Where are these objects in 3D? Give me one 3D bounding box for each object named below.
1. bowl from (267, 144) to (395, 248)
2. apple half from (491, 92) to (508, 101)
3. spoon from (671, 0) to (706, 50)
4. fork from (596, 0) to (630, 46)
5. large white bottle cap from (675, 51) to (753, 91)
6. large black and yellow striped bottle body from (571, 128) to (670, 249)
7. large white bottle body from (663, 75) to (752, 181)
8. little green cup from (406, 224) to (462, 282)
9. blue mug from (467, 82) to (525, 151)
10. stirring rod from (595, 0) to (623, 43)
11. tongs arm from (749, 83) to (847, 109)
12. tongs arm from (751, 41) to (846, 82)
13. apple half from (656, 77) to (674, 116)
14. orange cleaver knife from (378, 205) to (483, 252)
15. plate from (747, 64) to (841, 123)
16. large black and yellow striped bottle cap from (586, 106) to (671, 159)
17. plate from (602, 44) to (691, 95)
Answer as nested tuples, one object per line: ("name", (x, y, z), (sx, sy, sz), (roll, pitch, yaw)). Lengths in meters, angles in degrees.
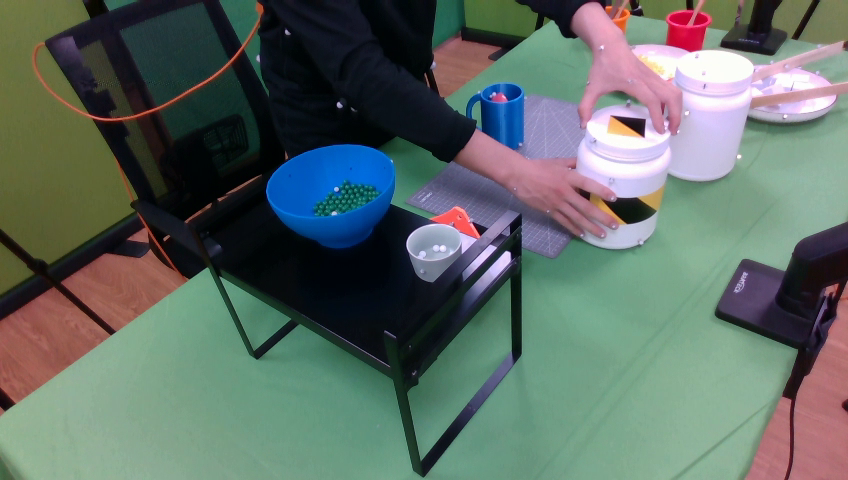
("bowl", (-0.104, -0.043, 0.726), (0.151, 0.077, 0.150), (-4, 40, 4))
("apple half", (0.141, -0.239, 1.158), (0.033, 0.081, 0.080), (-13, 40, -17))
("spoon", (0.628, -0.520, 1.394), (0.041, 0.022, 0.193), (30, 96, 34))
("fork", (0.481, -0.556, 1.452), (0.028, 0.019, 0.207), (40, 103, 40))
("large white bottle cap", (0.463, -0.271, 0.967), (0.115, 0.018, 0.114), (-4, 40, 3))
("large black and yellow striped bottle body", (0.295, -0.093, 0.915), (0.131, 0.185, 0.130), (-3, 42, 3))
("large white bottle body", (0.472, -0.207, 1.022), (0.130, 0.185, 0.130), (-4, 41, 4))
("little green cup", (0.012, 0.015, 0.668), (0.061, 0.039, 0.061), (-4, 40, 4))
("blue mug", (0.138, -0.241, 1.169), (0.116, 0.106, 0.082), (10, 44, 21))
("stirring rod", (0.460, -0.556, 1.459), (0.014, 0.006, 0.176), (30, 93, 24))
("tongs arm", (0.734, -0.280, 1.134), (0.388, 0.028, 0.028), (-9, 47, -5))
("tongs arm", (0.708, -0.331, 1.194), (0.386, 0.026, 0.050), (-18, 45, -16))
("apple half", (0.488, -0.281, 1.192), (0.053, 0.075, 0.081), (25, 54, 37))
("orange cleaver knife", (0.005, -0.010, 0.944), (0.210, 0.077, 0.012), (-4, 23, 47))
("plate", (0.694, -0.283, 1.189), (0.207, 0.039, 0.206), (-4, 40, 4))
("large black and yellow striped bottle cap", (0.289, -0.154, 0.858), (0.115, 0.019, 0.114), (-4, 42, 4))
("plate", (0.495, -0.367, 1.317), (0.209, 0.038, 0.208), (-4, 40, 4))
